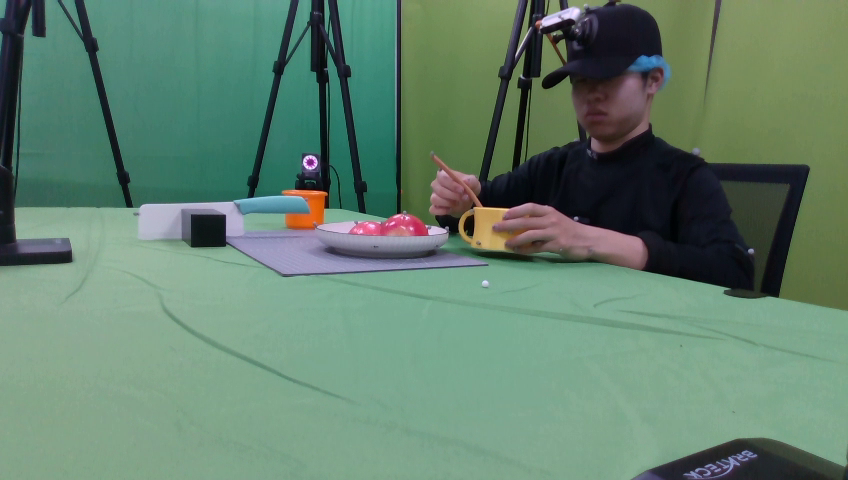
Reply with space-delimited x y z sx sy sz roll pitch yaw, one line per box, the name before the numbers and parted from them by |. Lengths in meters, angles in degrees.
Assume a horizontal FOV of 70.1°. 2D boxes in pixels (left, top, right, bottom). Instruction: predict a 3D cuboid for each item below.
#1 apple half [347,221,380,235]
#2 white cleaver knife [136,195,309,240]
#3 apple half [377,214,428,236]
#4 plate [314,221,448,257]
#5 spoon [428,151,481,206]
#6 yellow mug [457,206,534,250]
apple half | -0.089 -0.014 0.985 0.081 0.033 0.081 5 6 0
white cleaver knife | -0.337 -0.039 1.037 0.288 0.066 0.021 -6 15 -29
apple half | -0.034 -0.013 0.924 0.080 0.053 0.075 5 10 16
plate | -0.067 -0.002 0.948 0.209 0.038 0.209 3 7 0
spoon | 0.074 -0.071 0.976 0.021 0.193 0.041 -38 -3 0
yellow mug | 0.111 -0.021 0.975 0.130 0.064 0.100 5 3 29
